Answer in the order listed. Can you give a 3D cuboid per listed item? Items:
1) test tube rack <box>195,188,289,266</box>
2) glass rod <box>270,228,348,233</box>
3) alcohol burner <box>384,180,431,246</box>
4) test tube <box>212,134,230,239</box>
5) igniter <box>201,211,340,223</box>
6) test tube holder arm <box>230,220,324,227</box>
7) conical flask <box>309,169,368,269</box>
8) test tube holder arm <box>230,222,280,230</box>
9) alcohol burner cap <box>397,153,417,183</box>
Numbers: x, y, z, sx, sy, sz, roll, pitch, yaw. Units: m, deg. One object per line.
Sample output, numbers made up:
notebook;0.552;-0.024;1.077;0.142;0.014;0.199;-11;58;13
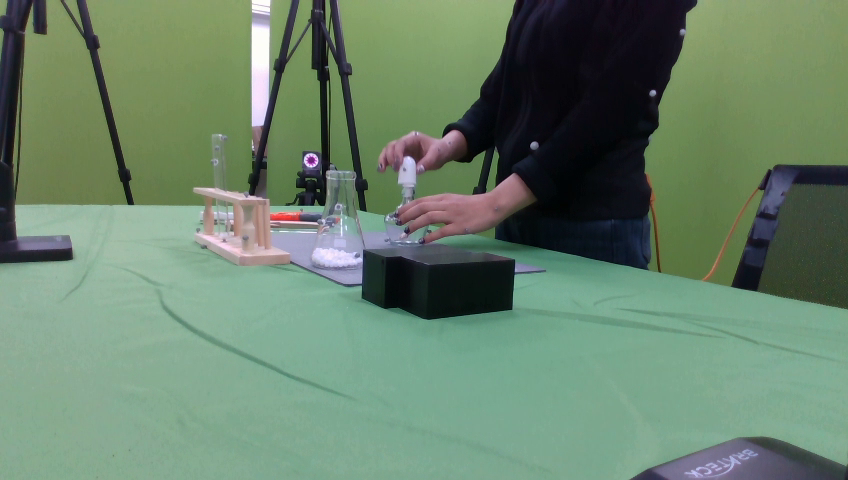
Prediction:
test tube rack;-0.266;-0.025;0.864;0.067;0.085;0.241;-2;8;-33
glass rod;-0.234;-0.017;1.105;0.201;0.008;0.008;1;7;-26
alcohol burner;-0.026;-0.049;0.994;0.078;0.119;0.078;2;9;0
test tube;-0.290;-0.076;0.863;0.017;0.150;0.017;-2;6;0
igniter;-0.311;-0.048;1.243;0.278;0.025;0.057;-1;-2;-24
test tube holder arm;-0.275;-0.030;1.145;0.179;0.015;0.013;-2;45;-31
conical flask;-0.107;-0.028;0.762;0.075;0.122;0.075;2;7;0
test tube holder arm;-0.312;-0.025;1.118;0.088;0.015;0.010;-1;44;-30
alcohol burner cap;-0.028;-0.118;0.990;0.034;0.048;0.034;-1;-1;0
